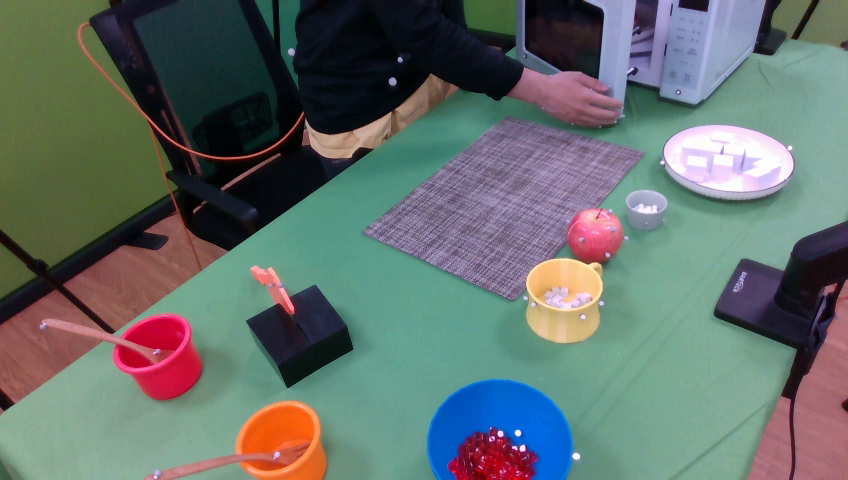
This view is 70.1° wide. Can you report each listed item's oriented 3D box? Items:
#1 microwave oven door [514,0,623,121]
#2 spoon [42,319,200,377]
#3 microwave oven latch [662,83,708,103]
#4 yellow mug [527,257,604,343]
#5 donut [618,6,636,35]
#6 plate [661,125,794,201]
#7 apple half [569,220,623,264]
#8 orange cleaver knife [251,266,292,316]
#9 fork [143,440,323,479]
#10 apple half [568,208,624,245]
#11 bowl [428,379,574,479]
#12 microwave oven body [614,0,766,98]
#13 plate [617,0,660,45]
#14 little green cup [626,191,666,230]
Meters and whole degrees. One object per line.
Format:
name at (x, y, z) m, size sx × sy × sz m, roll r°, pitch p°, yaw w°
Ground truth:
microwave oven door at (0.289, -0.423, 1.231) m, size 0.039 × 0.245 × 0.352 m, roll -21°, pitch 42°, yaw -16°
spoon at (-0.385, 0.135, 0.779) m, size 0.195 × 0.021 × 0.041 m, roll 29°, pitch 37°, yaw -26°
microwave oven latch at (0.518, -0.296, 1.204) m, size 0.078 × 0.029 × 0.030 m, roll 28°, pitch 52°, yaw 35°
yellow mug at (0.201, 0.072, 0.825) m, size 0.131 × 0.064 × 0.099 m, roll -32°, pitch 46°, yaw -27°
donut at (0.426, -0.497, 1.365) m, size 0.099 × 0.048 × 0.098 m, roll -3°, pitch 40°, yaw 3°
plate at (0.513, -0.128, 1.035) m, size 0.207 × 0.039 × 0.206 m, roll -4°, pitch 40°, yaw 4°
apple half at (0.251, 0.010, 0.884) m, size 0.081 × 0.081 × 0.032 m, roll 3°, pitch 37°, yaw 12°
orange cleaver knife at (-0.221, 0.071, 0.873) m, size 0.012 × 0.077 × 0.210 m, roll -25°, pitch 11°, yaw -21°
fork at (-0.190, 0.231, 0.631) m, size 0.028 × 0.018 × 0.209 m, roll 38°, pitch 14°, yaw 37°
apple half at (0.259, -0.014, 0.914) m, size 0.080 × 0.075 × 0.053 m, roll 0°, pitch 36°, yaw 15°
bowl at (0.082, 0.233, 0.644) m, size 0.151 × 0.077 × 0.150 m, roll -4°, pitch 40°, yaw 4°
microwave oven body at (0.472, -0.513, 1.317) m, size 0.438 × 0.261 × 0.327 m, roll 26°, pitch 51°, yaw 34°
plate at (0.427, -0.490, 1.375) m, size 0.209 × 0.038 × 0.208 m, roll -5°, pitch 41°, yaw 5°
little green cup at (0.352, -0.046, 0.963) m, size 0.061 × 0.039 × 0.061 m, roll -4°, pitch 40°, yaw 4°
